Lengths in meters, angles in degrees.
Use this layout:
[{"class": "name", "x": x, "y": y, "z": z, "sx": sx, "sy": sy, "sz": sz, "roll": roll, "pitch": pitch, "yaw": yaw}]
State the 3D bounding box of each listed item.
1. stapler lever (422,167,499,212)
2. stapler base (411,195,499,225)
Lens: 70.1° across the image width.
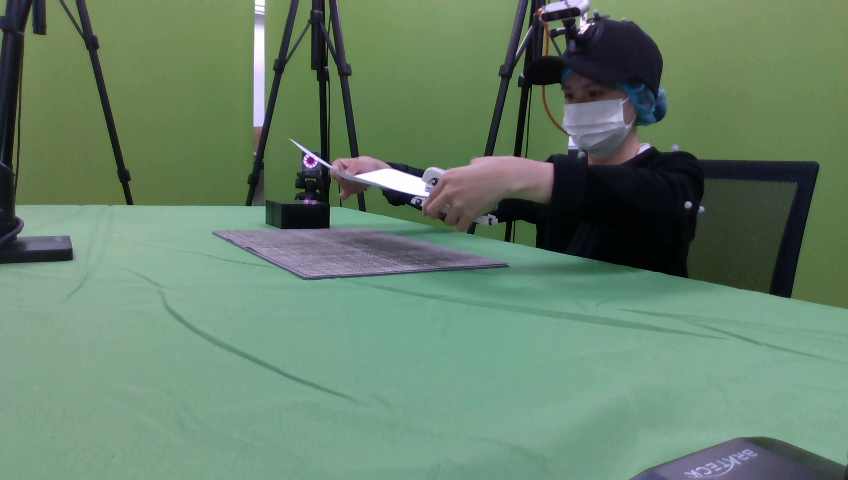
[{"class": "stapler lever", "x": 0.049, "y": -0.071, "z": 0.837, "sx": 0.117, "sy": 0.040, "sz": 0.027, "roll": 19, "pitch": 15, "yaw": 30}, {"class": "stapler base", "x": 0.043, "y": -0.048, "z": 0.842, "sx": 0.130, "sy": 0.024, "sz": 0.041, "roll": 20, "pitch": 15, "yaw": 30}]
